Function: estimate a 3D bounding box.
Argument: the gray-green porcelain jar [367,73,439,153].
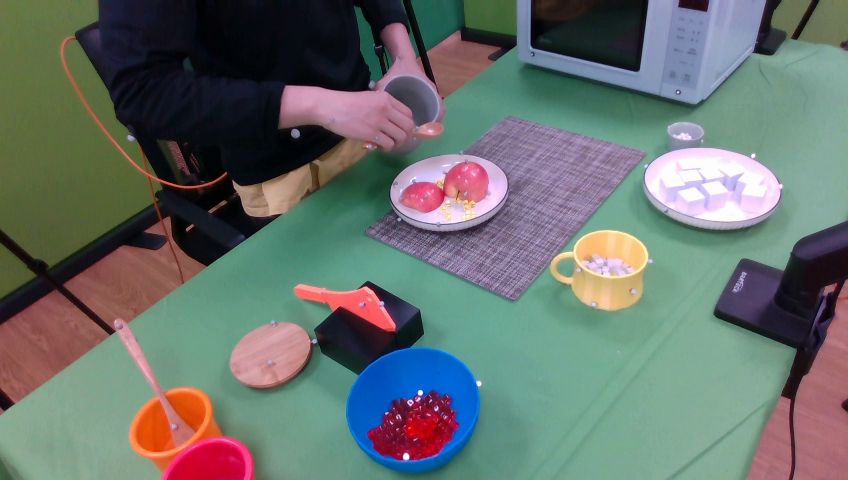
[{"bbox_3d":[-0.043,-0.219,1.074,0.106,0.126,0.105,5,75,-17],"label":"gray-green porcelain jar"}]

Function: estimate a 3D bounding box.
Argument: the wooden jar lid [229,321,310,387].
[{"bbox_3d":[-0.207,0.156,0.821,0.108,0.021,0.108,-3,39,3],"label":"wooden jar lid"}]

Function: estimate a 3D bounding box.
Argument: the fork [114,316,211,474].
[{"bbox_3d":[-0.308,0.179,0.708,0.028,0.018,0.207,-30,89,-23],"label":"fork"}]

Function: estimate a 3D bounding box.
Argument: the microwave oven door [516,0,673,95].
[{"bbox_3d":[0.344,-0.458,1.256,0.353,0.245,0.039,26,51,33],"label":"microwave oven door"}]

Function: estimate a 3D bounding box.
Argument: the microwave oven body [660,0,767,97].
[{"bbox_3d":[0.473,-0.516,1.313,0.438,0.261,0.327,26,51,34],"label":"microwave oven body"}]

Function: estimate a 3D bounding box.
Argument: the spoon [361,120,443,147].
[{"bbox_3d":[-0.032,-0.162,0.912,0.041,0.021,0.195,24,27,27],"label":"spoon"}]

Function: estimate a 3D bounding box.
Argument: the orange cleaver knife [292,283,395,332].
[{"bbox_3d":[-0.115,0.092,0.835,0.209,0.077,0.012,1,32,48],"label":"orange cleaver knife"}]

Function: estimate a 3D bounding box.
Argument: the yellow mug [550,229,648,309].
[{"bbox_3d":[0.245,0.040,0.857,0.130,0.064,0.099,1,42,11],"label":"yellow mug"}]

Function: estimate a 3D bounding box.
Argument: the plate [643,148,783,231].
[{"bbox_3d":[0.464,-0.080,0.986,0.207,0.039,0.206,-4,41,4],"label":"plate"}]

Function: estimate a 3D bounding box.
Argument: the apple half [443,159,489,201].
[{"bbox_3d":[0.074,-0.111,1.047,0.080,0.053,0.075,21,46,30],"label":"apple half"}]

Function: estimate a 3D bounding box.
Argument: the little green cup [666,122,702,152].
[{"bbox_3d":[0.471,-0.184,1.102,0.061,0.039,0.061,-5,41,5],"label":"little green cup"}]

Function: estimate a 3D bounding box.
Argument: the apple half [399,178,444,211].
[{"bbox_3d":[-0.004,-0.088,1.045,0.081,0.033,0.081,-2,44,2],"label":"apple half"}]

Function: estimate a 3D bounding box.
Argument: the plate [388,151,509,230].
[{"bbox_3d":[0.044,-0.082,1.043,0.209,0.038,0.208,-4,40,4],"label":"plate"}]

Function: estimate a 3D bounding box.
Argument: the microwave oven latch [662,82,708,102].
[{"bbox_3d":[0.518,-0.299,1.203,0.078,0.029,0.030,29,53,36],"label":"microwave oven latch"}]

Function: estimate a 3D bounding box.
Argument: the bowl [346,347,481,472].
[{"bbox_3d":[-0.008,0.205,0.691,0.151,0.077,0.150,-4,40,4],"label":"bowl"}]
